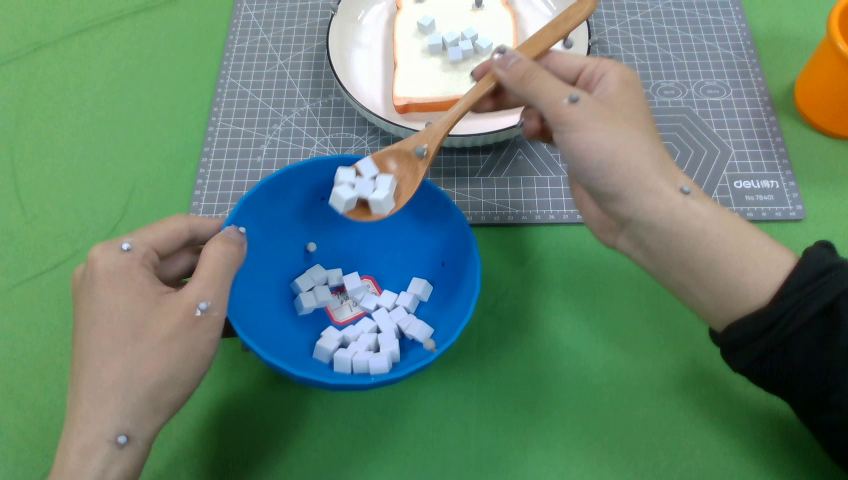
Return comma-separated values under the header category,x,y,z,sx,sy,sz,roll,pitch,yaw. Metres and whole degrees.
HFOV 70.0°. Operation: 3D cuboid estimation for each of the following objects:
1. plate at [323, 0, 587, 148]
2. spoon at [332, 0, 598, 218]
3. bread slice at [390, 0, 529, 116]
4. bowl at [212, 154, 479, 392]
category,x,y,z,sx,sy,sz,roll,pitch,yaw
plate,0.024,-0.156,0.495,0.209,0.038,0.207,-1,63,3
spoon,0.027,-0.079,0.343,0.194,0.022,0.041,-41,65,-1
bread slice,0.021,-0.160,0.500,0.107,0.018,0.133,-7,64,0
bowl,-0.047,0.030,0.375,0.152,0.077,0.150,5,58,-8
